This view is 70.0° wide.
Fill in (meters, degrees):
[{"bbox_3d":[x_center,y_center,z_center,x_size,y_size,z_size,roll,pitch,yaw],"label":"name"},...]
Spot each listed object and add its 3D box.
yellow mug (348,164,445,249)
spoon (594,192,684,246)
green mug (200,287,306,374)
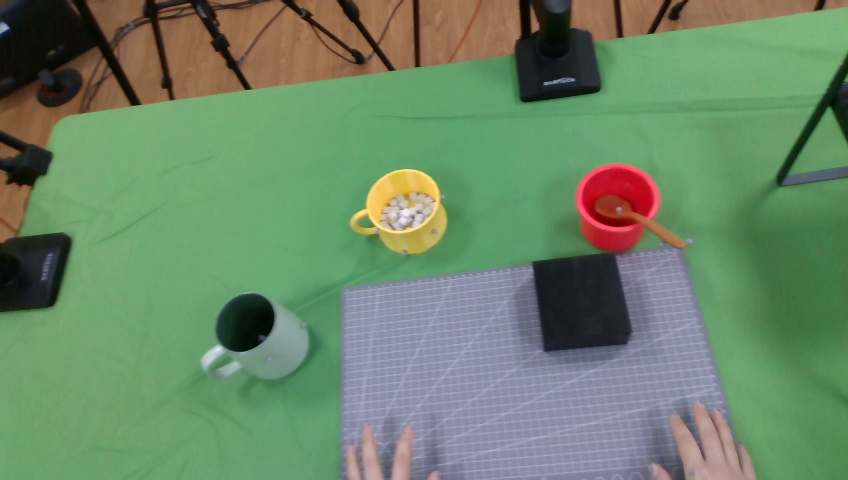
[{"bbox_3d":[-0.040,-0.040,0.828,0.131,0.064,0.099,-15,62,4],"label":"yellow mug"},{"bbox_3d":[0.253,-0.028,0.723,0.041,0.192,0.022,-17,107,-2],"label":"spoon"},{"bbox_3d":[-0.218,0.124,0.758,0.125,0.106,0.091,-36,64,-8],"label":"green mug"}]
